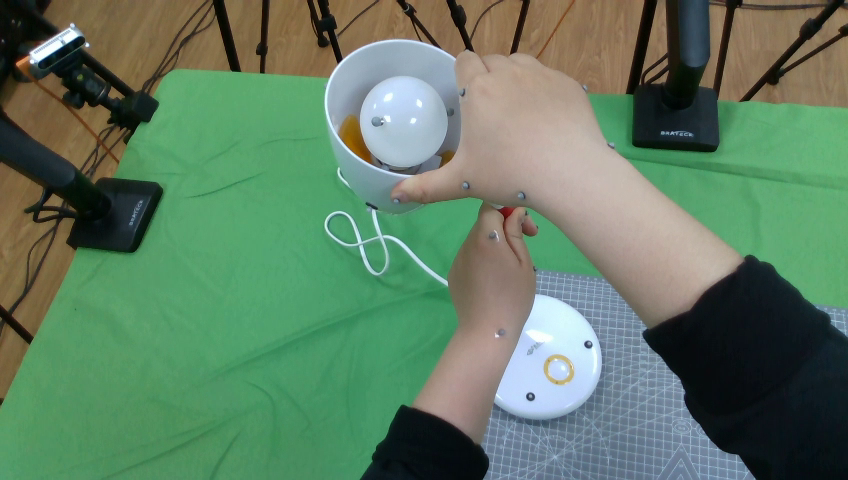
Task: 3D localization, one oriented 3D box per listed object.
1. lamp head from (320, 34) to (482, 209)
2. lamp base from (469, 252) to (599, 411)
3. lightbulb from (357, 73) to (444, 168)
[{"bbox_3d":[-0.017,-0.074,0.460,0.112,0.123,0.111,1,67,-2],"label":"lamp head"},{"bbox_3d":[0.117,0.091,0.695,0.178,0.182,0.160,31,70,24],"label":"lamp base"},{"bbox_3d":[-0.018,-0.073,0.435,0.059,0.108,0.059,1,66,-3],"label":"lightbulb"}]
